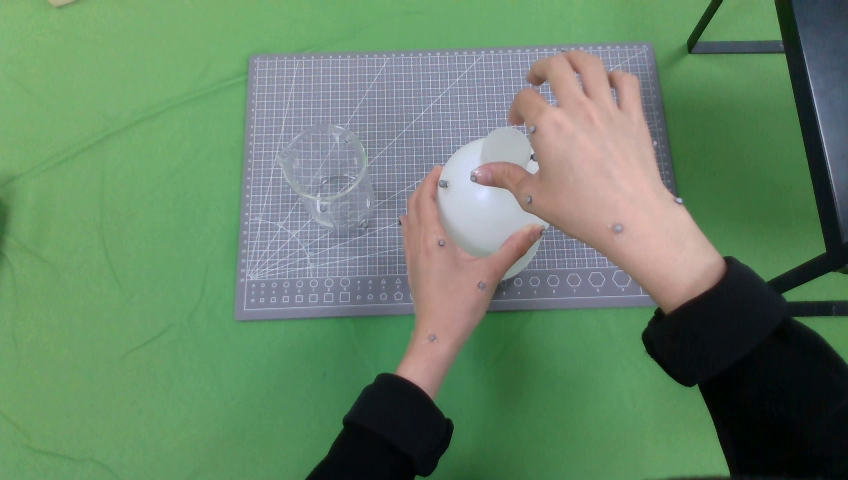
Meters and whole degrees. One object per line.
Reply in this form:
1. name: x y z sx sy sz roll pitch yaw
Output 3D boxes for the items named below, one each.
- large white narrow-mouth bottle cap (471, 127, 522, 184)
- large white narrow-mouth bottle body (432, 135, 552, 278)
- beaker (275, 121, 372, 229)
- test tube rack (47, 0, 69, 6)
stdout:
1. large white narrow-mouth bottle cap: 0.052 -0.060 0.434 0.038 0.024 0.037 -1 74 2
2. large white narrow-mouth bottle body: 0.058 -0.034 0.524 0.102 0.195 0.101 -1 74 3
3. beaker: -0.091 -0.057 0.580 0.084 0.101 0.073 8 72 4
4. test tube rack: -0.334 -0.358 0.683 0.242 0.085 0.066 -22 74 -6
